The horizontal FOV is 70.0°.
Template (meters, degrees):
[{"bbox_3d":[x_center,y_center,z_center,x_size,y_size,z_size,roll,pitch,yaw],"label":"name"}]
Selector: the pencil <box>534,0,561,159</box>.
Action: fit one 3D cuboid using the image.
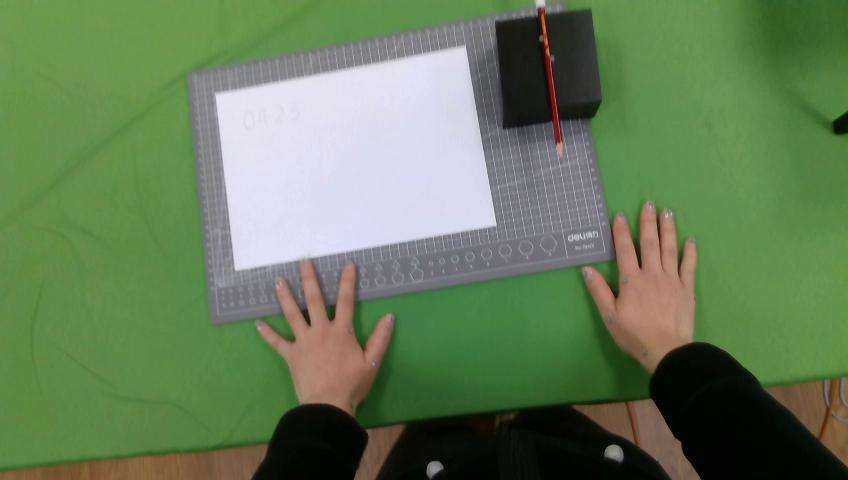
[{"bbox_3d":[0.128,-0.177,0.626,0.012,0.012,0.193,-6,81,5],"label":"pencil"}]
